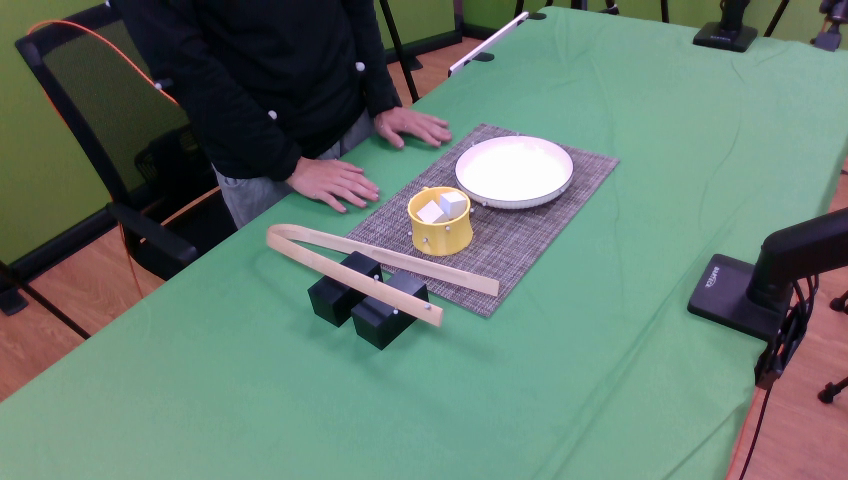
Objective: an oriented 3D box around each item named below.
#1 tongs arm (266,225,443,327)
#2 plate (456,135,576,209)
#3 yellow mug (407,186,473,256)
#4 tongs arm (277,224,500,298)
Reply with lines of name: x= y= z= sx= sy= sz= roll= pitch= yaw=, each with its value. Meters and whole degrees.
tongs arm: x=-0.112 y=0.042 z=0.866 sx=0.381 sy=0.026 sz=0.051 roll=19 pitch=22 yaw=35
plate: x=0.161 y=-0.116 z=1.064 sx=0.207 sy=0.039 sz=0.206 roll=-4 pitch=40 yaw=4
yellow mug: x=0.021 y=-0.041 z=0.973 sx=0.100 sy=0.064 sz=0.129 roll=-19 pitch=41 yaw=-12
tongs arm: x=-0.065 y=0.028 z=0.932 sx=0.385 sy=0.028 sz=0.028 roll=14 pitch=23 yaw=22
